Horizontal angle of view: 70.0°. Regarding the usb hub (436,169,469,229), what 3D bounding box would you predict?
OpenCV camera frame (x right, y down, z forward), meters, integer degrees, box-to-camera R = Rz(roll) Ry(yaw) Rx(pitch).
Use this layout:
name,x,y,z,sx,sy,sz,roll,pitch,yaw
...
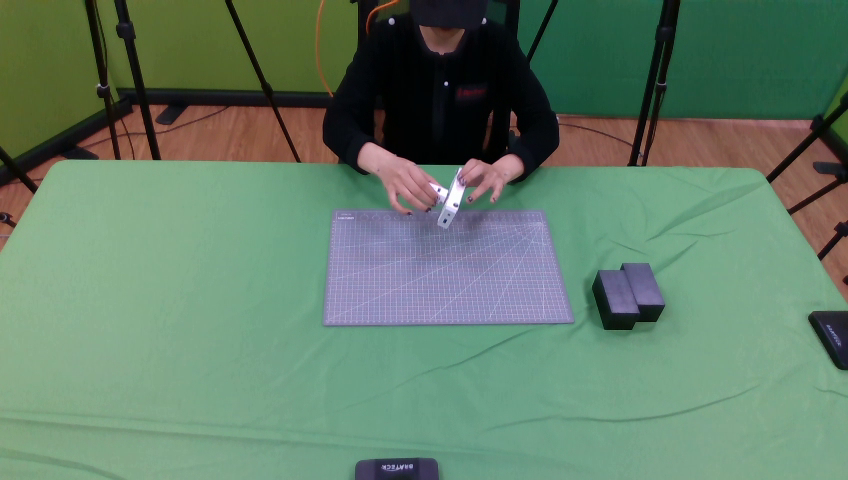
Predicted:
name,x,y,z,sx,sy,sz,roll,pitch,yaw
usb hub,0.056,-0.080,1.159,0.025,0.049,0.124,25,47,-6

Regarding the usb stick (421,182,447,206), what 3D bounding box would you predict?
name,x,y,z,sx,sy,sz,roll,pitch,yaw
usb stick,0.026,-0.085,1.153,0.059,0.027,0.021,27,42,-8
